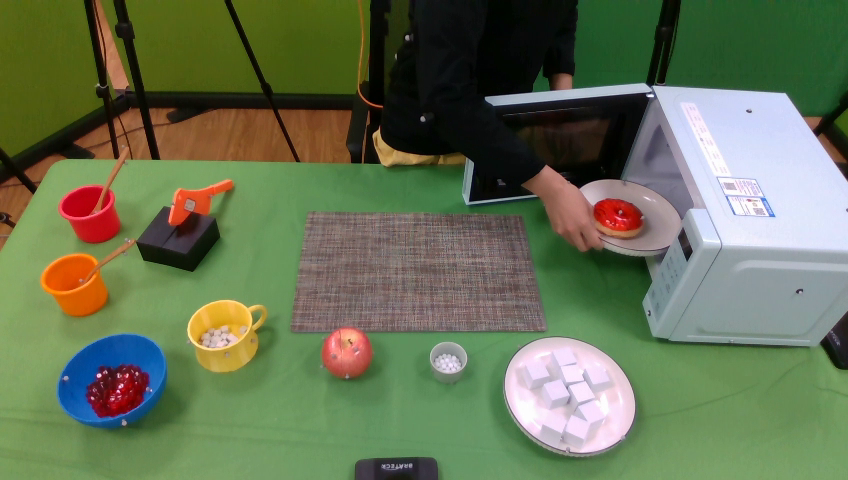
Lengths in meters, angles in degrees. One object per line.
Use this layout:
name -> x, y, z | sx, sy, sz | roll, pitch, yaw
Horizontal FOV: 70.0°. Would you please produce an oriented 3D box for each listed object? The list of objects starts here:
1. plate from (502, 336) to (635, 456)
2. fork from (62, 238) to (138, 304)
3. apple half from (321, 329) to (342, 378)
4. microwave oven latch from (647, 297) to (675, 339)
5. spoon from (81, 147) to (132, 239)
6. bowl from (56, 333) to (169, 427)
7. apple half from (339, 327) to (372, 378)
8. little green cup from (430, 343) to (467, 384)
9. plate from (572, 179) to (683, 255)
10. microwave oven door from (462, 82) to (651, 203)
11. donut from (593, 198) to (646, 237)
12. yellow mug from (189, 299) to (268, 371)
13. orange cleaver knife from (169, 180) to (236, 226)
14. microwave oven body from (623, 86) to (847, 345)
plate -> 0.225, 0.248, 0.963 | 0.208, 0.039, 0.206 | 2, 46, -2
fork -> -0.547, 0.053, 1.019 | 0.207, 0.019, 0.028 | -36, 40, 23
apple half -> -0.149, 0.186, 0.972 | 0.033, 0.081, 0.080 | -2, 46, -12
microwave oven latch -> 0.413, 0.134, 1.060 | 0.030, 0.029, 0.078 | 5, 45, 2
spoon -> -0.603, -0.089, 1.156 | 0.041, 0.022, 0.193 | 28, 95, 18
bowl -> -0.456, 0.223, 0.912 | 0.151, 0.077, 0.150 | 3, 45, -2
apple half -> -0.111, 0.182, 0.980 | 0.053, 0.075, 0.080 | -2, 42, -12
little green cup -> 0.039, 0.203, 0.994 | 0.061, 0.039, 0.061 | 2, 46, -2
plate -> 0.385, -0.040, 1.156 | 0.209, 0.038, 0.208 | 4, 43, -3
microwave oven door -> 0.261, -0.194, 1.226 | 0.356, 0.245, 0.039 | -8, 47, -11
donut -> 0.367, -0.043, 1.142 | 0.099, 0.048, 0.098 | 4, 40, -3
yellow mug -> -0.316, 0.148, 1.002 | 0.131, 0.064, 0.099 | -33, 56, -31
orange cleaver knife -> -0.435, -0.076, 1.199 | 0.012, 0.077, 0.211 | 17, 17, 9
microwave oven body -> 0.567, -0.053, 1.118 | 0.326, 0.261, 0.439 | 2, 45, -1
